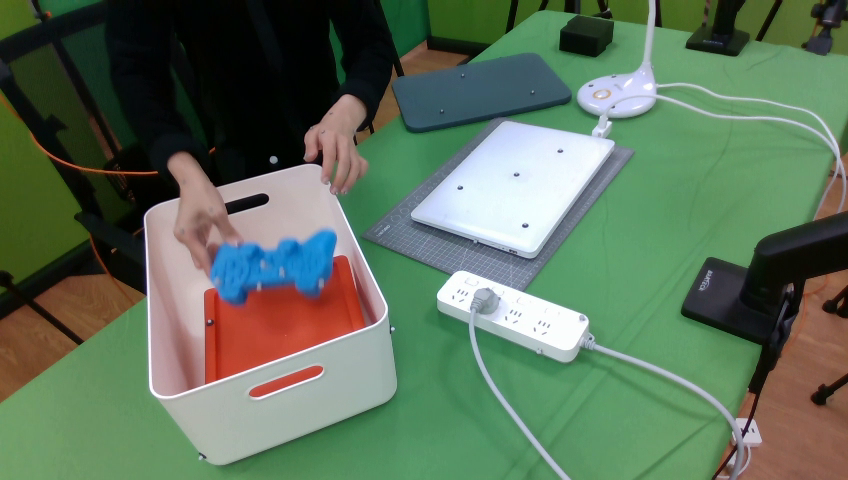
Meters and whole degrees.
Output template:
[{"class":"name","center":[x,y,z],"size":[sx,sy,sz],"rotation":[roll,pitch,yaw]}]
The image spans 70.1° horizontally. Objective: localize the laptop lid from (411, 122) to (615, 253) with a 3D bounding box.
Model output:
[{"class":"laptop lid","center":[0.164,-0.112,1.068],"size":[0.240,0.013,0.357],"rotation":[19,46,31]}]

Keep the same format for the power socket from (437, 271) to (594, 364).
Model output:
[{"class":"power socket","center":[0.118,0.102,0.830],"size":[0.225,0.033,0.072],"rotation":[20,48,28]}]

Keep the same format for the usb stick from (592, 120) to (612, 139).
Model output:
[{"class":"usb stick","center":[0.335,-0.203,1.149],"size":[0.021,0.027,0.059],"rotation":[25,53,26]}]

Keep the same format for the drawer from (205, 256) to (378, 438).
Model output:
[{"class":"drawer","center":[-0.177,0.130,0.787],"size":[0.195,0.073,0.210],"rotation":[-14,39,-9]}]

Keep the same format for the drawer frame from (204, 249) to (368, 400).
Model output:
[{"class":"drawer frame","center":[-0.173,0.129,0.791],"size":[0.202,0.083,0.212],"rotation":[-16,45,-8]}]

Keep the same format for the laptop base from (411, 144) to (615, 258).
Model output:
[{"class":"laptop base","center":[0.167,-0.102,1.074],"size":[0.234,0.023,0.355],"rotation":[16,45,30]}]

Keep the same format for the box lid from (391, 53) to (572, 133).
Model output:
[{"class":"box lid","center":[0.123,-0.339,1.366],"size":[0.372,0.015,0.261],"rotation":[-12,40,-5]}]

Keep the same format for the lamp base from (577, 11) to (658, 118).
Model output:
[{"class":"lamp base","center":[0.406,-0.363,1.222],"size":[0.180,0.181,0.159],"rotation":[-20,42,-18]}]

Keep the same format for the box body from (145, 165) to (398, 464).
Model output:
[{"class":"box body","center":[-0.205,0.080,0.802],"size":[0.255,0.161,0.361],"rotation":[-18,41,-13]}]

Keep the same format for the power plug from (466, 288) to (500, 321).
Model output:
[{"class":"power plug","center":[0.072,0.093,0.813],"size":[0.035,0.053,0.073],"rotation":[30,54,35]}]

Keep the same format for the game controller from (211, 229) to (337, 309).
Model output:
[{"class":"game controller","center":[-0.188,0.029,0.747],"size":[0.155,0.052,0.096],"rotation":[-7,61,4]}]
